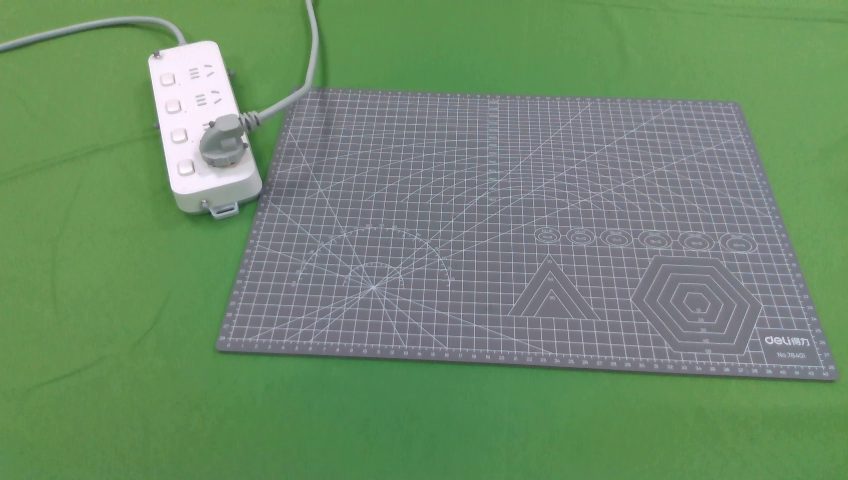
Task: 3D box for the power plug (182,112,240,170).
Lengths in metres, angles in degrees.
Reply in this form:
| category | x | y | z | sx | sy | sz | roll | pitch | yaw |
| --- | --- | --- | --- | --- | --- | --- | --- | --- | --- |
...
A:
| category | x | y | z | sx | sy | sz | roll | pitch | yaw |
| --- | --- | --- | --- | --- | --- | --- | --- | --- | --- |
| power plug | -0.192 | -0.086 | 0.522 | 0.072 | 0.035 | 0.052 | -2 | 55 | 26 |

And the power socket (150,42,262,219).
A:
| category | x | y | z | sx | sy | sz | roll | pitch | yaw |
| --- | --- | --- | --- | --- | --- | --- | --- | --- | --- |
| power socket | -0.208 | -0.113 | 0.570 | 0.072 | 0.033 | 0.224 | -16 | 55 | -13 |
